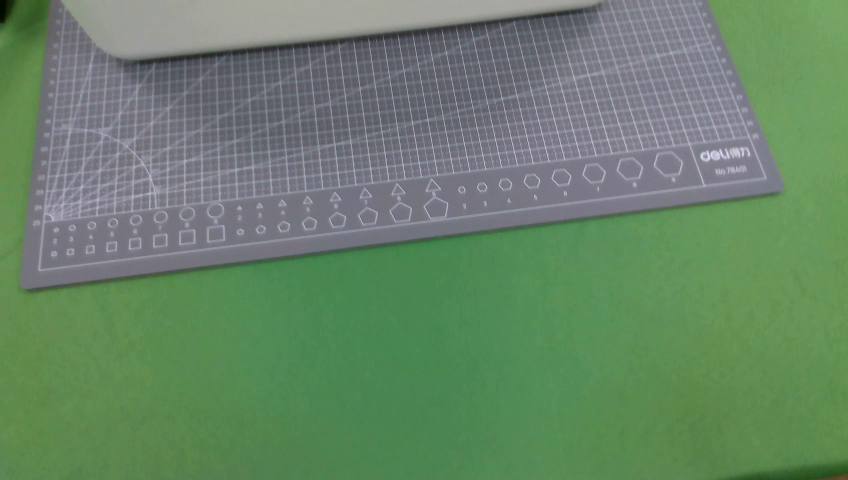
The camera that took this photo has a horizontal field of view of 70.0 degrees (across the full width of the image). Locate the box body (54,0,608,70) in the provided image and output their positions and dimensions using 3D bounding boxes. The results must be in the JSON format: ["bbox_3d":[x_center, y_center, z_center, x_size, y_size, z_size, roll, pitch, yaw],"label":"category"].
[{"bbox_3d":[-0.056,-0.266,0.380,0.364,0.161,0.252,-9,67,-5],"label":"box body"}]
